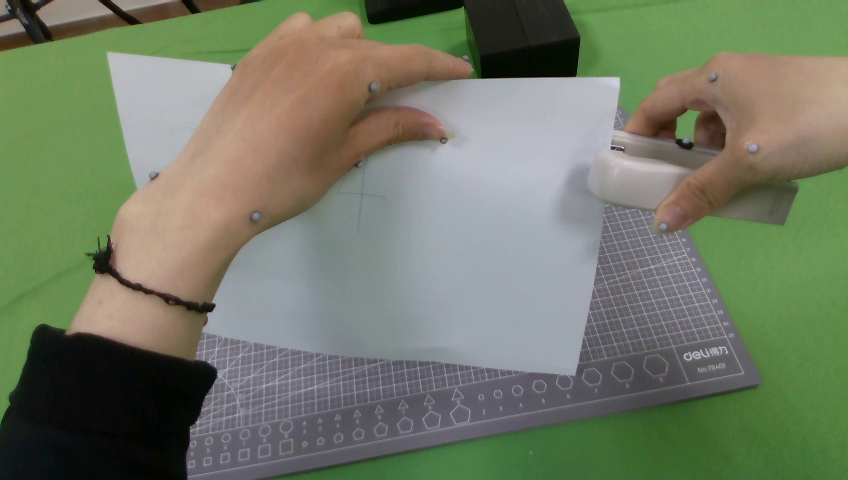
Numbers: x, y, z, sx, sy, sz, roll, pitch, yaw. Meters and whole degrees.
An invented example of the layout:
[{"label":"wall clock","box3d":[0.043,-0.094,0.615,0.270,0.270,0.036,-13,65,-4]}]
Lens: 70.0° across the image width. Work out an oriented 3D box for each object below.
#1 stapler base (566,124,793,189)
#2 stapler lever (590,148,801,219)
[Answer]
[{"label":"stapler base","box3d":[0.153,-0.039,0.361,0.130,0.041,0.024,9,25,1]},{"label":"stapler lever","box3d":[0.152,-0.030,0.337,0.118,0.027,0.040,9,24,1]}]
